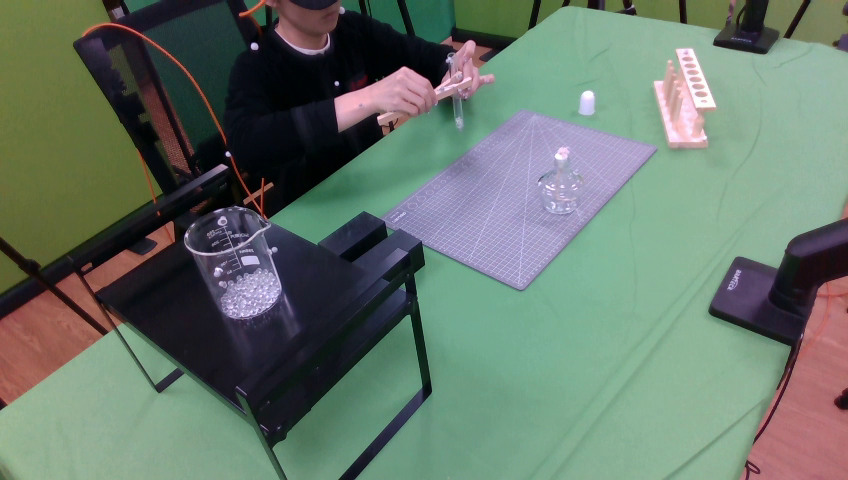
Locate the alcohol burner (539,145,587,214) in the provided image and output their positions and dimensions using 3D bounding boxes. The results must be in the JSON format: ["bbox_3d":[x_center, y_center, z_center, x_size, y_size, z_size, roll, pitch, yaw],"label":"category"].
[{"bbox_3d":[0.226,-0.102,0.986,0.078,0.119,0.077,-6,41,6],"label":"alcohol burner"}]

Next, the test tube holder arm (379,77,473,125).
[{"bbox_3d":[0.005,-0.235,1.020,0.179,0.015,0.013,-27,48,-14],"label":"test tube holder arm"}]

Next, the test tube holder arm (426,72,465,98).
[{"bbox_3d":[0.037,-0.261,1.036,0.010,0.015,0.088,31,60,32],"label":"test tube holder arm"}]

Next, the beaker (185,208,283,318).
[{"bbox_3d":[-0.192,0.026,0.637,0.084,0.101,0.073,-13,41,-7],"label":"beaker"}]

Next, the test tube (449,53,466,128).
[{"bbox_3d":[0.059,-0.257,1.056,0.017,0.151,0.017,-5,48,6],"label":"test tube"}]

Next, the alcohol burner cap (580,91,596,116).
[{"bbox_3d":[0.338,-0.283,1.238,0.034,0.048,0.033,-5,42,4],"label":"alcohol burner cap"}]

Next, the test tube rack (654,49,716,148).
[{"bbox_3d":[0.502,-0.281,1.176,0.066,0.085,0.241,1,41,11],"label":"test tube rack"}]
